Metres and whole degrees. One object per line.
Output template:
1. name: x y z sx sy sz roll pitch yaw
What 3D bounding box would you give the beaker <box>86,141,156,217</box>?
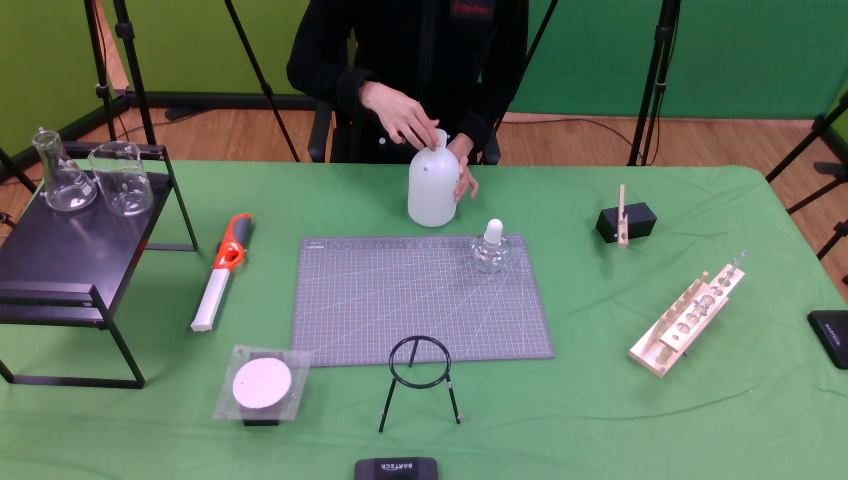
1. beaker: -0.467 -0.093 0.950 0.084 0.101 0.073 15 47 11

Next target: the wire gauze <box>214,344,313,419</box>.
1. wire gauze: -0.241 0.213 0.916 0.121 0.011 0.124 5 46 1

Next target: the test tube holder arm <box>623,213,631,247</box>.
1. test tube holder arm: 0.393 -0.020 1.179 0.010 0.015 0.087 12 46 2

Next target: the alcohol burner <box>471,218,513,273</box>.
1. alcohol burner: 0.128 0.005 1.132 0.078 0.120 0.077 0 47 0

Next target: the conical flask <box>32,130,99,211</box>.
1. conical flask: -0.565 -0.110 0.944 0.075 0.122 0.075 2 46 -2

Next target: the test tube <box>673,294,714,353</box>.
1. test tube: 0.428 0.137 0.978 0.017 0.151 0.017 4 47 -4

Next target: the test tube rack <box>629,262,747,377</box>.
1. test tube rack: 0.464 0.126 1.061 0.242 0.085 0.066 -34 56 -31

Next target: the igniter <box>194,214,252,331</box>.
1. igniter: -0.367 0.050 1.119 0.057 0.025 0.275 -4 45 7

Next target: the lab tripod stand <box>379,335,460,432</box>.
1. lab tripod stand: -0.011 0.214 0.911 0.148 0.132 0.147 1 45 0

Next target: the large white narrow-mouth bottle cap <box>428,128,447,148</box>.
1. large white narrow-mouth bottle cap: 0.025 -0.190 1.128 0.038 0.024 0.037 2 46 -2

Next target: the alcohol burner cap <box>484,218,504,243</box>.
1. alcohol burner cap: 0.130 -0.021 1.106 0.034 0.048 0.033 3 51 -4

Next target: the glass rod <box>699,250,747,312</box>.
1. glass rod: 0.500 0.075 1.021 0.008 0.201 0.008 0 55 0

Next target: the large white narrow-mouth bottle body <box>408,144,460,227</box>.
1. large white narrow-mouth bottle body: 0.021 -0.124 1.198 0.102 0.195 0.101 2 46 -2

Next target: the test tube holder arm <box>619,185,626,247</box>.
1. test tube holder arm: 0.397 -0.052 1.210 0.013 0.015 0.177 14 46 3
